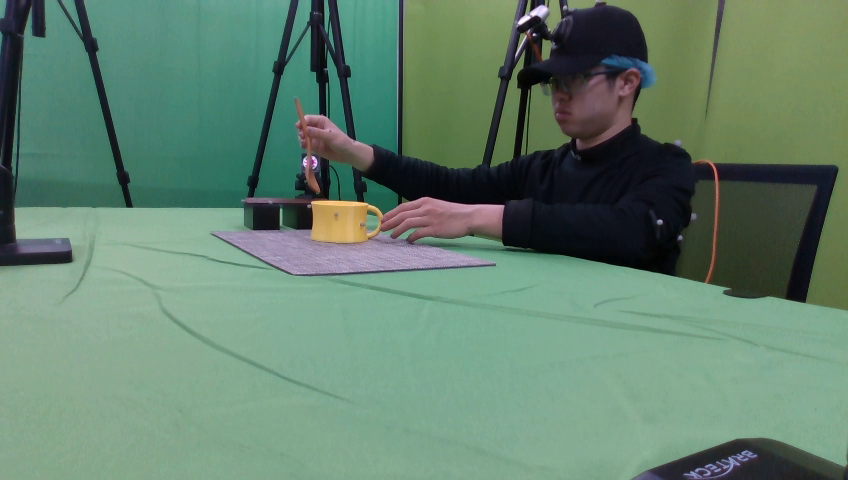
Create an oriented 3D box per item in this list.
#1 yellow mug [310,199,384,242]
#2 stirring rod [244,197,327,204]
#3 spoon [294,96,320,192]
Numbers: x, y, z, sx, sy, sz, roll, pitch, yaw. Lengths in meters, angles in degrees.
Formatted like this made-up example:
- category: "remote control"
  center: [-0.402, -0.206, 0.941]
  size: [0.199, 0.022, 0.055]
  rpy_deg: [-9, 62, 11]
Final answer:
- category: "yellow mug"
  center: [-0.132, -0.035, 1.054]
  size: [0.131, 0.064, 0.099]
  rpy_deg: [0, 8, -23]
- category: "stirring rod"
  center: [-0.270, -0.078, 1.200]
  size: [0.177, 0.006, 0.014]
  rpy_deg: [-2, 43, -37]
- category: "spoon"
  center: [-0.236, -0.192, 1.216]
  size: [0.021, 0.193, 0.041]
  rpy_deg: [-6, 7, 12]
